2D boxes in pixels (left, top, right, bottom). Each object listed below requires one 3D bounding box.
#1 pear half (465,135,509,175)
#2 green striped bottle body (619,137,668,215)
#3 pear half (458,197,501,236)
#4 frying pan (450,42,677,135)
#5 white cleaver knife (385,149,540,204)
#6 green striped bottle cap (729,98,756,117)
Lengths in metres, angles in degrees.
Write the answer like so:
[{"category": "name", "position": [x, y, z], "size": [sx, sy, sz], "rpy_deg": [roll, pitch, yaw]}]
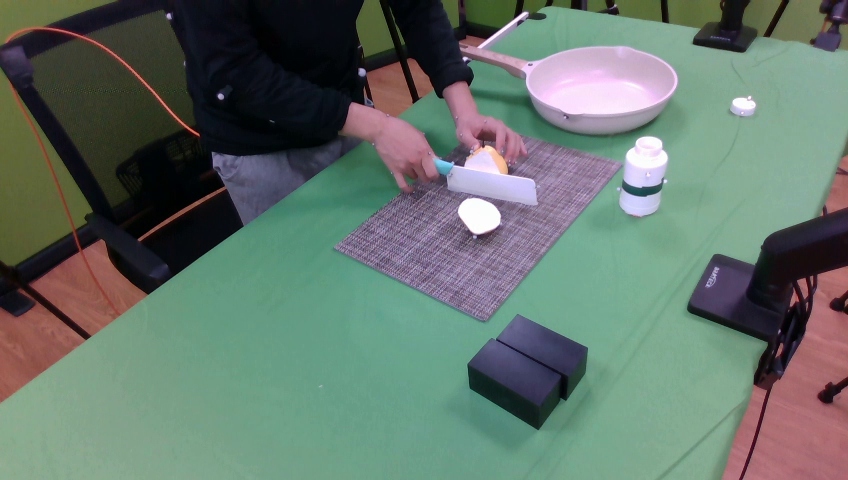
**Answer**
[{"category": "pear half", "position": [0.111, -0.137, 1.039], "size": [0.076, 0.110, 0.056], "rpy_deg": [14, 44, 19]}, {"category": "green striped bottle body", "position": [0.350, -0.103, 0.963], "size": [0.063, 0.120, 0.063], "rpy_deg": [-4, 41, 4]}, {"category": "pear half", "position": [0.087, -0.031, 0.977], "size": [0.070, 0.031, 0.088], "rpy_deg": [15, 49, 2]}, {"category": "frying pan", "position": [0.268, -0.344, 1.266], "size": [0.485, 0.103, 0.307], "rpy_deg": [25, 49, 21]}, {"category": "white cleaver knife", "position": [0.061, -0.107, 1.043], "size": [0.285, 0.066, 0.021], "rpy_deg": [15, 50, 20]}, {"category": "green striped bottle cap", "position": [0.623, -0.259, 1.182], "size": [0.044, 0.020, 0.044], "rpy_deg": [-3, 41, 3]}]
